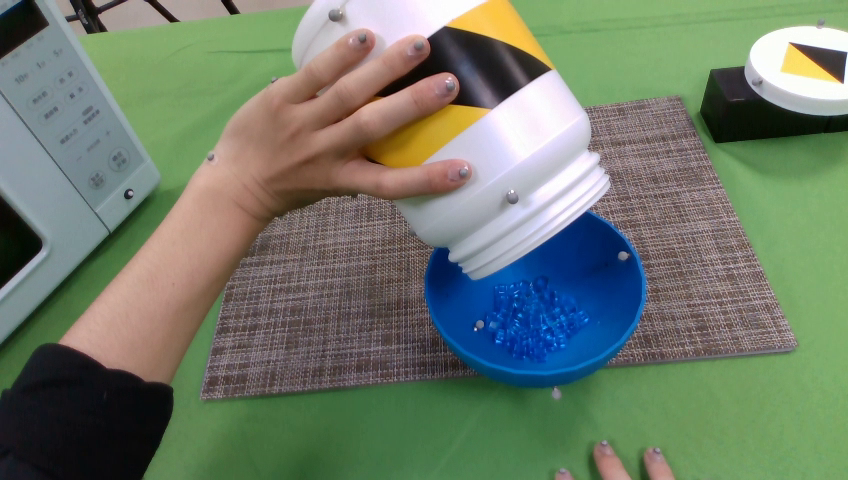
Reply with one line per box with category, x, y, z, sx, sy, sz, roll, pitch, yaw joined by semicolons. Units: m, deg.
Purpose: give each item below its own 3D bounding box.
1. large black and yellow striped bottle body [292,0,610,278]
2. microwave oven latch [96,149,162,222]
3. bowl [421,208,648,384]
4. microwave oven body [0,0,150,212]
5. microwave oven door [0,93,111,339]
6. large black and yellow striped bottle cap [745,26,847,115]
large black and yellow striped bottle body;0.020;-0.080;0.383;0.131;0.130;0.184;-36;93;-20
microwave oven latch;-0.293;-0.056;0.594;0.030;0.030;0.079;19;56;22
bowl;0.077;0.047;0.442;0.151;0.077;0.150;-4;50;6
microwave oven body;-0.515;-0.030;0.478;0.324;0.263;0.439;17;56;21
microwave oven door;-0.404;0.036;0.399;0.039;0.246;0.354;17;55;22
large black and yellow striped bottle cap;0.355;-0.156;0.549;0.115;0.019;0.114;-5;49;6
